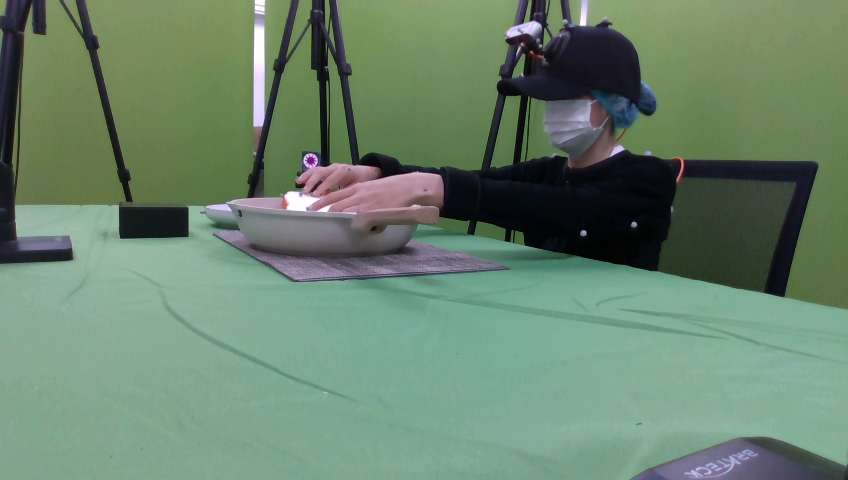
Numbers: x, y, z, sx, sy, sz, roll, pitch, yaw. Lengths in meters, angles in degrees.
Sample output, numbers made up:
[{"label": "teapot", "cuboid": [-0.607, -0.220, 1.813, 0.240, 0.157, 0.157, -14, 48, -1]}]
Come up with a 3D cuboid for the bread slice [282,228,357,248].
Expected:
[{"label": "bread slice", "cuboid": [-0.169, -0.005, 0.943, 0.107, 0.018, 0.134, 2, 6, -16]}]

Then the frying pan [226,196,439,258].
[{"label": "frying pan", "cuboid": [-0.103, -0.027, 0.845, 0.308, 0.102, 0.486, -1, 0, -25]}]

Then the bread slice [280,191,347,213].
[{"label": "bread slice", "cuboid": [-0.171, -0.049, 0.933, 0.105, 0.019, 0.131, 8, 16, -20]}]

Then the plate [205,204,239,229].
[{"label": "plate", "cuboid": [-0.324, -0.046, 1.199, 0.208, 0.039, 0.207, 3, 7, 0]}]
